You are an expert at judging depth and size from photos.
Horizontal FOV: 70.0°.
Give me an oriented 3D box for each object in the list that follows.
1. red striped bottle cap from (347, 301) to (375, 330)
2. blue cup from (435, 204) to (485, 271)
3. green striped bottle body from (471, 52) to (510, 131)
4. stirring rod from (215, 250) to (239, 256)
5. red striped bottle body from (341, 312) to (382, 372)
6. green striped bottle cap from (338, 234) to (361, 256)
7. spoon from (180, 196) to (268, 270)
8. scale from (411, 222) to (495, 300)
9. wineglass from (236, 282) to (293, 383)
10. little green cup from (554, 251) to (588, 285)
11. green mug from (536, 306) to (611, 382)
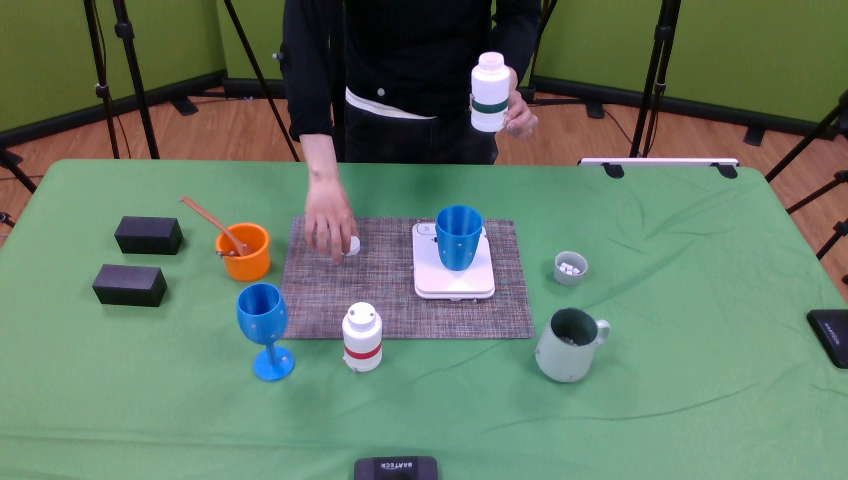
[{"bbox_3d":[-0.097,0.116,0.934,0.044,0.018,0.044,3,48,-3],"label":"red striped bottle cap"},{"bbox_3d":[0.060,0.001,1.097,0.093,0.101,0.092,1,43,-1],"label":"blue cup"},{"bbox_3d":[0.109,-0.247,1.000,0.063,0.120,0.063,-2,42,2],"label":"green striped bottle body"},{"bbox_3d":[-0.339,0.024,1.059,0.014,0.176,0.006,16,86,-6],"label":"stirring rod"},{"bbox_3d":[-0.100,0.154,0.972,0.063,0.120,0.062,2,46,-1],"label":"red striped bottle body"},{"bbox_3d":[-0.144,0.009,1.173,0.044,0.020,0.044,-4,42,4],"label":"green striped bottle cap"},{"bbox_3d":[-0.360,-0.014,1.094,0.021,0.194,0.041,-28,26,31],"label":"spoon"},{"bbox_3d":[0.052,0.031,1.158,0.149,0.032,0.199,1,46,-4],"label":"scale"},{"bbox_3d":[-0.243,0.143,0.934,0.074,0.173,0.073,2,46,-2],"label":"wineglass"},{"bbox_3d":[0.277,0.055,1.151,0.061,0.039,0.061,1,46,-1],"label":"little green cup"},{"bbox_3d":[0.250,0.167,0.996,0.125,0.105,0.092,-15,48,-18],"label":"green mug"}]
